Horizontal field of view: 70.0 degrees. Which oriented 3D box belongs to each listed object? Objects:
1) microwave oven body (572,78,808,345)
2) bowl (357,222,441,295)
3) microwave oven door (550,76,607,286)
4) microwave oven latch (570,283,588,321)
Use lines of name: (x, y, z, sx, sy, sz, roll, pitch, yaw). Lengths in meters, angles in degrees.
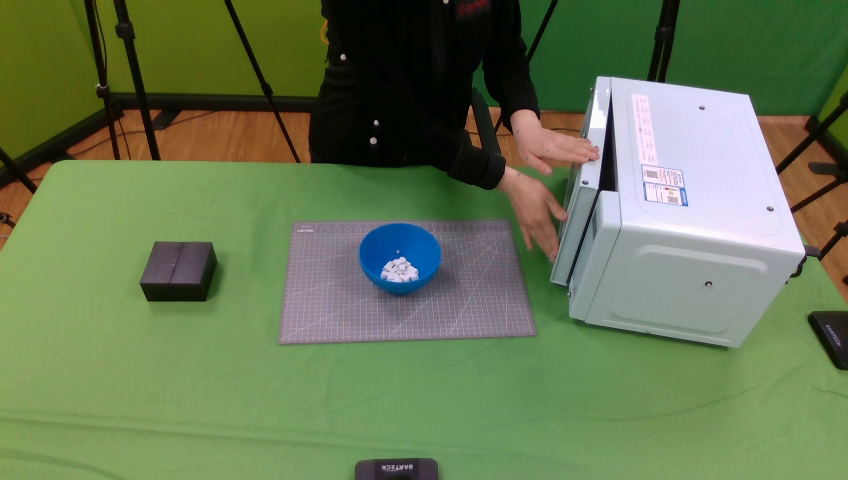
microwave oven body: (0.456, -0.063, 1.124, 0.326, 0.261, 0.439, 8, 45, 5)
bowl: (-0.046, 0.046, 1.107, 0.151, 0.077, 0.150, 3, 45, -2)
microwave oven door: (0.302, -0.122, 1.162, 0.039, 0.245, 0.354, 13, 47, 9)
microwave oven latch: (0.276, 0.106, 1.082, 0.030, 0.029, 0.079, 10, 45, 6)
